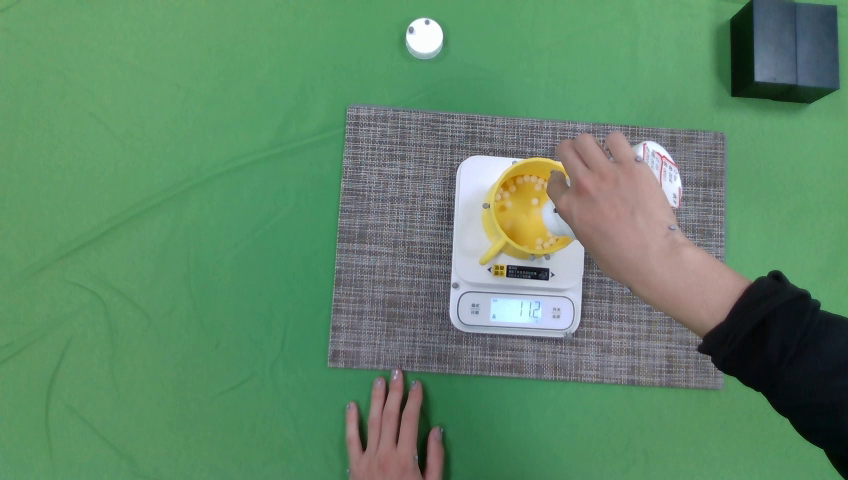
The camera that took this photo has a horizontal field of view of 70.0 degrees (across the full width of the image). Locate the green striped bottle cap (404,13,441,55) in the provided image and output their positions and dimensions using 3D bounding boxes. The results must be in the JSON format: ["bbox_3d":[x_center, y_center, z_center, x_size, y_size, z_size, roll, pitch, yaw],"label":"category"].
[{"bbox_3d":[-0.002,-0.243,0.715,0.044,0.020,0.044,0,87,-2],"label":"green striped bottle cap"}]

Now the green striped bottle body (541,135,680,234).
[{"bbox_3d":[0.164,-0.045,0.554,0.064,0.119,0.062,15,65,-34],"label":"green striped bottle body"}]

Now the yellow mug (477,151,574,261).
[{"bbox_3d":[0.103,-0.026,0.638,0.100,0.064,0.131,43,85,2],"label":"yellow mug"}]

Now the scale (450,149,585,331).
[{"bbox_3d":[0.107,0.000,0.684,0.149,0.031,0.200,3,85,-2],"label":"scale"}]
